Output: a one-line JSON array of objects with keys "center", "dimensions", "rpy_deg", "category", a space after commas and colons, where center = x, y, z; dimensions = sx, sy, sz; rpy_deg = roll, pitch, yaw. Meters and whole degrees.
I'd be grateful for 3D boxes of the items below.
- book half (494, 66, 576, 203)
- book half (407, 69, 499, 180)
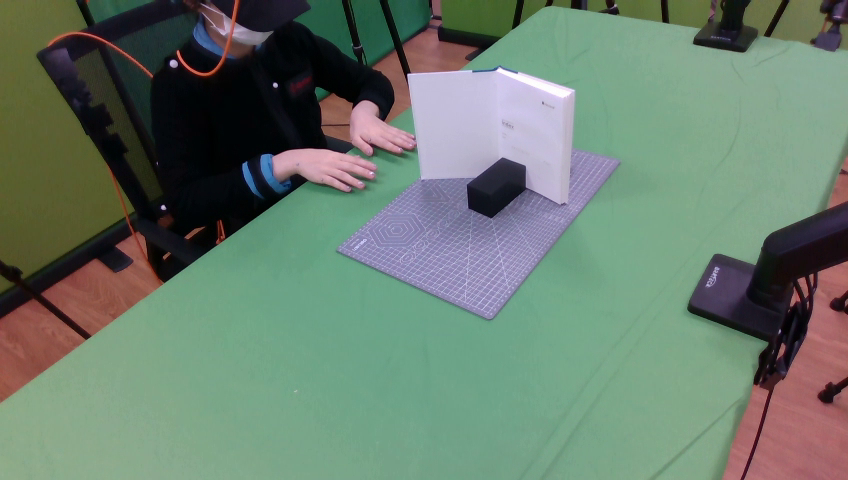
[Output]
[{"center": [0.179, -0.167, 0.988], "dimensions": [0.016, 0.211, 0.147], "rpy_deg": [-36, 48, -28], "category": "book half"}, {"center": [0.054, -0.191, 1.034], "dimensions": [0.143, 0.211, 0.007], "rpy_deg": [-2, 42, 7], "category": "book half"}]
